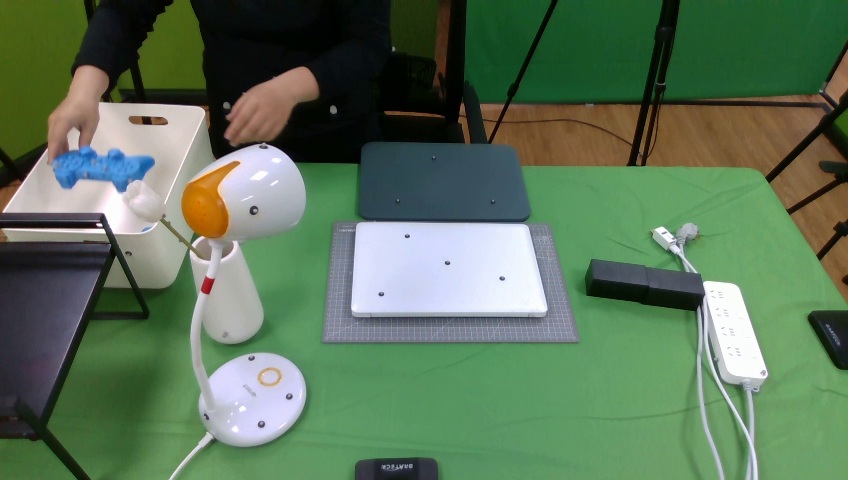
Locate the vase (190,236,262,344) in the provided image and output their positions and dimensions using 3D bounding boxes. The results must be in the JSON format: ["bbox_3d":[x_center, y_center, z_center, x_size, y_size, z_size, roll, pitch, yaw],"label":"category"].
[{"bbox_3d":[-0.317,0.081,0.971,0.098,0.201,0.097,3,47,-3],"label":"vase"}]

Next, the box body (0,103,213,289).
[{"bbox_3d":[-0.563,-0.087,1.139,0.254,0.161,0.361,2,46,-3],"label":"box body"}]

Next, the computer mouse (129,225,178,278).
[{"bbox_3d":[-0.500,0.018,1.122,0.063,0.041,0.116,4,52,-5],"label":"computer mouse"}]

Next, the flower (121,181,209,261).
[{"bbox_3d":[-0.329,0.030,0.905,0.038,0.364,0.044,-22,58,-1],"label":"flower"}]

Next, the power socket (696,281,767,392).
[{"bbox_3d":[0.543,0.161,1.077,0.072,0.033,0.225,6,46,2],"label":"power socket"}]

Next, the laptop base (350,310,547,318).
[{"bbox_3d":[0.041,0.056,1.149,0.355,0.023,0.234,0,43,-4],"label":"laptop base"}]

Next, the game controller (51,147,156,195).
[{"bbox_3d":[-0.558,-0.128,1.047,0.155,0.052,0.096,4,46,-4],"label":"game controller"}]

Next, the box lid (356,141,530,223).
[{"bbox_3d":[0.040,-0.132,1.339,0.372,0.015,0.261,0,46,-4],"label":"box lid"}]

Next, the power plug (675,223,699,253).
[{"bbox_3d":[0.537,0.000,1.244,0.053,0.035,0.072,20,83,-18],"label":"power plug"}]

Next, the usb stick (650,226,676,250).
[{"bbox_3d":[0.485,-0.008,1.237,0.021,0.027,0.059,-22,44,-14],"label":"usb stick"}]

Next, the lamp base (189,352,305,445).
[{"bbox_3d":[-0.268,0.196,0.876,0.160,0.181,0.179,25,52,20],"label":"lamp base"}]

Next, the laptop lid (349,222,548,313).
[{"bbox_3d":[0.042,0.046,1.142,0.357,0.013,0.240,2,44,-3],"label":"laptop lid"}]

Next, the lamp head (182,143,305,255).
[{"bbox_3d":[-0.216,-0.044,0.697,0.112,0.113,0.123,23,31,17],"label":"lamp head"}]
